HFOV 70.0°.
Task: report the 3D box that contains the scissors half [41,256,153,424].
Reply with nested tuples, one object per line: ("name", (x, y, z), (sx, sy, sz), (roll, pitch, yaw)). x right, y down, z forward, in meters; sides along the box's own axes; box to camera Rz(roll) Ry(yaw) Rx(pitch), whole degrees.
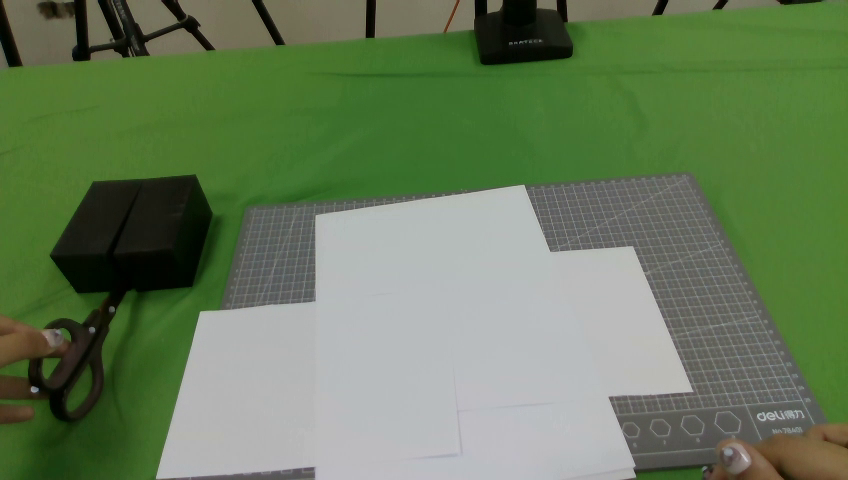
("scissors half", (-0.258, 0.073, 0.498), (0.013, 0.040, 0.173), (-8, 42, 12))

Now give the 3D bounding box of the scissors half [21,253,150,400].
("scissors half", (-0.262, 0.058, 0.486), (0.013, 0.040, 0.174), (-4, 29, 9))
